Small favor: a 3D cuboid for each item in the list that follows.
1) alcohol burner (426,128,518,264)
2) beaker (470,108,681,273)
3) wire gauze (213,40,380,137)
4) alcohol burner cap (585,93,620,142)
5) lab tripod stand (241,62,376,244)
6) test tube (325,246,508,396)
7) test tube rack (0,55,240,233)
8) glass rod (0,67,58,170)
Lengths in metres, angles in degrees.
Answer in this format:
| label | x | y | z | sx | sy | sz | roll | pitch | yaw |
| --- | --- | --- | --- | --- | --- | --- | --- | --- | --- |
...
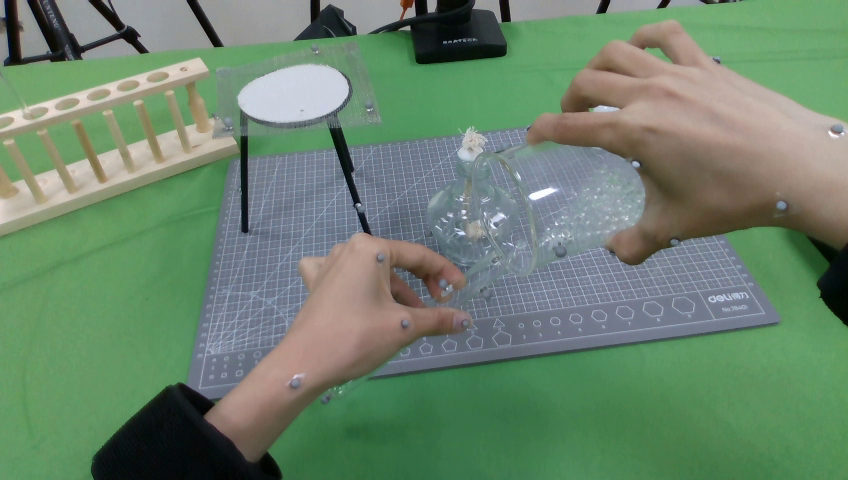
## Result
| label | x | y | z | sx | sy | sz | roll | pitch | yaw |
| --- | --- | --- | --- | --- | --- | --- | --- | --- | --- |
| alcohol burner | 0.039 | -0.039 | 0.498 | 0.078 | 0.120 | 0.077 | -2 | 42 | 2 |
| beaker | 0.088 | -0.030 | 0.353 | 0.100 | 0.085 | 0.073 | -19 | 52 | -14 |
| wire gauze | -0.105 | -0.121 | 0.481 | 0.125 | 0.011 | 0.120 | -11 | 45 | -6 |
| alcohol burner cap | 0.188 | -0.131 | 0.634 | 0.034 | 0.048 | 0.033 | -2 | 44 | 2 |
| lab tripod stand | -0.102 | -0.073 | 0.528 | 0.148 | 0.133 | 0.147 | -2 | 46 | 3 |
| test tube | -0.008 | 0.055 | 0.388 | 0.150 | 0.017 | 0.017 | -39 | 44 | 14 |
| test tube rack | -0.323 | -0.100 | 0.609 | 0.243 | 0.086 | 0.066 | -24 | 48 | -20 |
| glass rod | -0.374 | -0.134 | 0.550 | 0.008 | 0.201 | 0.008 | -1 | 48 | 2 |
